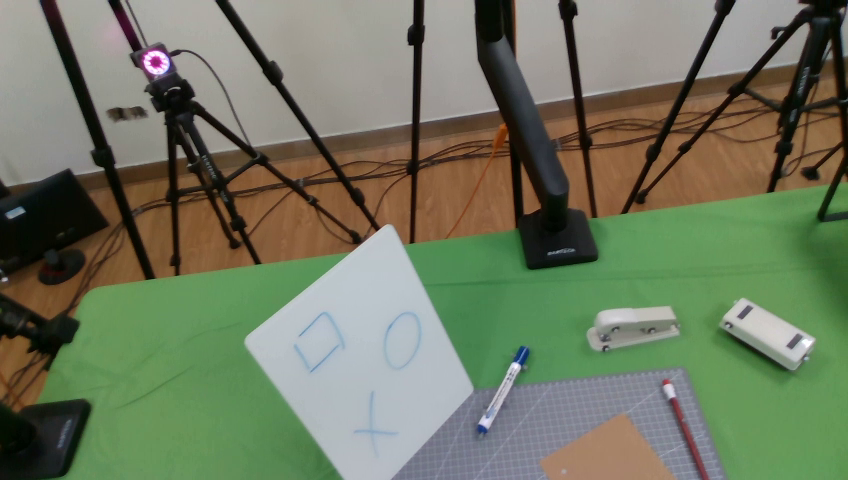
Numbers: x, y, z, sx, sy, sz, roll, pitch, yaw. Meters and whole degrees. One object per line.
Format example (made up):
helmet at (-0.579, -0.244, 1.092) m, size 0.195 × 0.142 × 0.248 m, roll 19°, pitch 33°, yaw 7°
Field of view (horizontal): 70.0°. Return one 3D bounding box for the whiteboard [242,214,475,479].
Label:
whiteboard at (-0.099, 0.137, 0.805) m, size 0.217 × 0.308 × 0.142 m, roll -40°, pitch 33°, yaw -23°

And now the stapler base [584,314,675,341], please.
stapler base at (0.306, 0.117, 0.902) m, size 0.130 × 0.025 × 0.041 m, roll -11°, pitch 50°, yaw -2°

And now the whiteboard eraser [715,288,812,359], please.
whiteboard eraser at (0.477, 0.118, 0.855) m, size 0.055 × 0.042 × 0.111 m, roll -38°, pitch 53°, yaw -21°

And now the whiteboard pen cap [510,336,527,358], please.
whiteboard pen cap at (0.140, 0.159, 0.894) m, size 0.018 × 0.018 × 0.033 m, roll 17°, pitch 53°, yaw 24°

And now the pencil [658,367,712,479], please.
pencil at (0.341, 0.250, 0.779) m, size 0.012 × 0.012 × 0.192 m, roll -10°, pitch 49°, yaw 1°

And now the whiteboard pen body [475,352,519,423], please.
whiteboard pen body at (0.110, 0.199, 0.864) m, size 0.017 × 0.017 × 0.140 m, roll 19°, pitch 53°, yaw 25°

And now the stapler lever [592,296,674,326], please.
stapler lever at (0.304, 0.100, 0.884) m, size 0.118 × 0.040 × 0.026 m, roll -12°, pitch 50°, yaw -1°

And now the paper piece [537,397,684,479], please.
paper piece at (0.235, 0.286, 0.767) m, size 0.136 × 0.009 × 0.136 m, roll -27°, pitch 51°, yaw -8°
